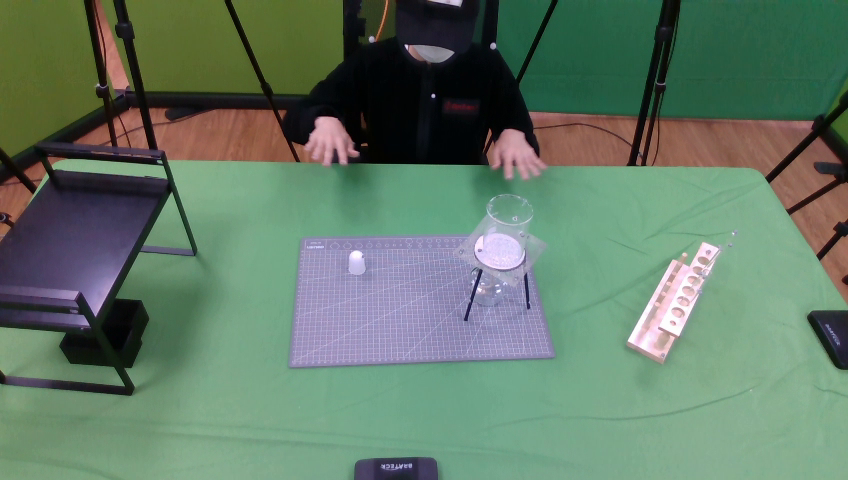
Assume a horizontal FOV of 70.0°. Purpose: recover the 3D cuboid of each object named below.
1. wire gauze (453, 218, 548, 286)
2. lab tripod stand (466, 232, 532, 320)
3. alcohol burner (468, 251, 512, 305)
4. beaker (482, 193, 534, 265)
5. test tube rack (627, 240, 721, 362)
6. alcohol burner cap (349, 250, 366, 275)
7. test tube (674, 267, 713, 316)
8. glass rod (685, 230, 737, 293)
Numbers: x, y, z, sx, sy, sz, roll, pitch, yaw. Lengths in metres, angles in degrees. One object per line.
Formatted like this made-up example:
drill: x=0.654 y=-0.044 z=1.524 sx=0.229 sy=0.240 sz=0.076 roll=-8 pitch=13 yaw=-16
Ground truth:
wire gauze: x=0.129 y=0.014 z=1.018 sx=0.124 sy=0.011 sz=0.121 roll=26 pitch=47 yaw=25
lab tripod stand: x=0.125 y=0.059 z=1.065 sx=0.148 sy=0.132 sz=0.147 roll=1 pitch=45 yaw=0
alcohol burner: x=0.119 y=0.061 z=1.077 sx=0.078 sy=0.120 sz=0.077 roll=1 pitch=47 yaw=-1
beaker: x=0.135 y=-0.016 z=0.979 sx=0.073 sy=0.101 sz=0.084 roll=35 pitch=52 yaw=28
test tube rack: x=0.452 y=0.098 z=1.087 sx=0.066 sy=0.085 sz=0.242 roll=28 pitch=51 yaw=22
alcohol burner cap: x=-0.125 y=0.039 z=1.132 sx=0.034 sy=0.048 sz=0.033 roll=2 pitch=46 yaw=-2
test tube: x=0.445 y=0.098 z=1.017 sx=0.017 sy=0.151 sz=0.017 roll=4 pitch=49 yaw=-4
glass rod: x=0.495 y=0.042 z=1.051 sx=0.008 sy=0.200 sz=0.008 roll=2 pitch=55 yaw=-2
